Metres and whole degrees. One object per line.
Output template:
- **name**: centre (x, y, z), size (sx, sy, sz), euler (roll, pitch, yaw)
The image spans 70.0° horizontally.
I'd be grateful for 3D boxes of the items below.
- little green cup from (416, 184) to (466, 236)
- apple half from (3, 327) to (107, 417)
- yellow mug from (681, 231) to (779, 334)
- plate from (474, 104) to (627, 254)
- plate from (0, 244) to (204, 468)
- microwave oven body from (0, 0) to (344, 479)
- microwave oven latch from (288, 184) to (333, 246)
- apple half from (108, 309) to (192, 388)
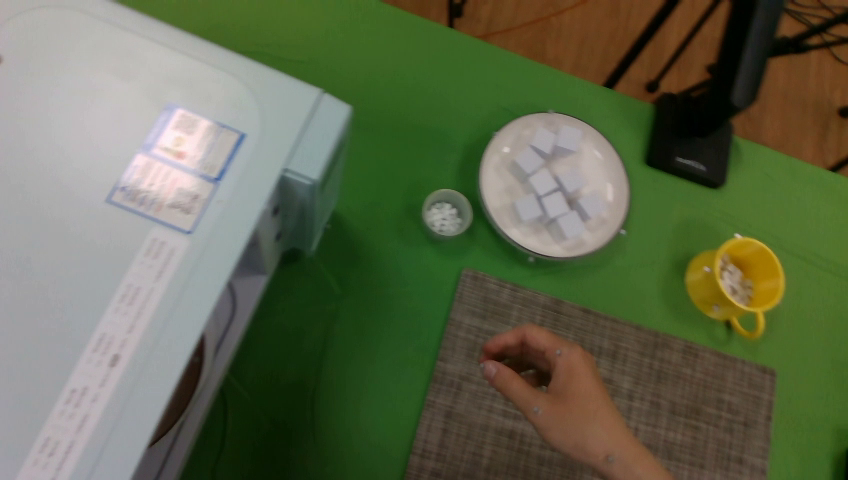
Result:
- **little green cup**: centre (0.019, -0.035, 0.758), size (0.062, 0.039, 0.061), euler (3, 76, -10)
- **apple half**: centre (-0.341, 0.123, 0.552), size (0.081, 0.053, 0.074), euler (34, 82, -14)
- **yellow mug**: centre (0.407, 0.059, 0.799), size (0.100, 0.064, 0.130), euler (-10, 77, -15)
- **plate**: centre (0.164, -0.078, 0.802), size (0.208, 0.039, 0.206), euler (3, 74, -11)
- **plate**: centre (-0.319, 0.109, 0.583), size (0.210, 0.038, 0.208), euler (3, 74, -11)
- **microwave oven body**: centre (-0.308, 0.044, 0.547), size (0.327, 0.261, 0.439), euler (21, 72, -6)
- **microwave oven latch**: centre (-0.132, -0.034, 0.707), size (0.030, 0.029, 0.079), euler (24, 72, -5)
- **apple half**: centre (-0.271, 0.104, 0.587), size (0.081, 0.033, 0.081), euler (2, 73, -8)
